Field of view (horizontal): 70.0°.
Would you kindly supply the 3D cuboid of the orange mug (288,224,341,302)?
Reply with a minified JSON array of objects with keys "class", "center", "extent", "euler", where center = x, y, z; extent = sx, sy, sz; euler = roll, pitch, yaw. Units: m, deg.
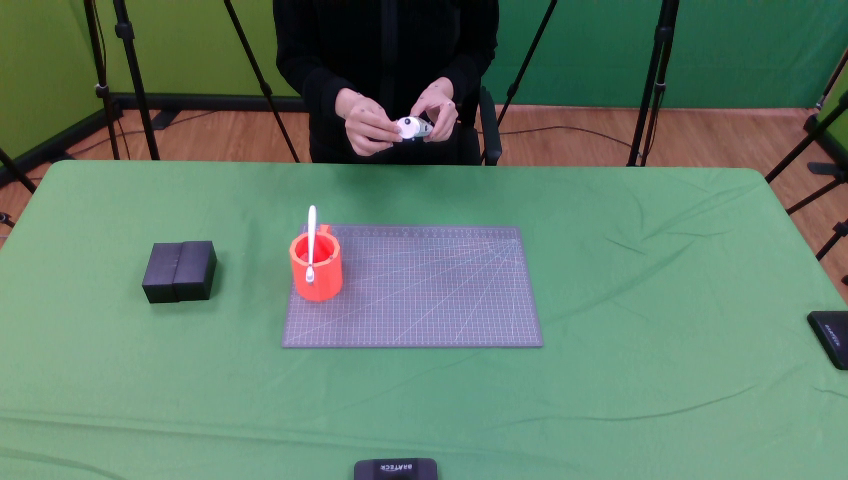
[{"class":"orange mug","center":[-0.192,0.034,1.094],"extent":[0.083,0.101,0.125],"euler":[7,50,2]}]

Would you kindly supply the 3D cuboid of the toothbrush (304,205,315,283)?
[{"class":"toothbrush","center":[-0.199,0.001,1.052],"extent":[0.014,0.017,0.180],"euler":[-4,46,-4]}]

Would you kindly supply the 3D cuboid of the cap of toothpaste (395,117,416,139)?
[{"class":"cap of toothpaste","center":[-0.030,-0.187,1.009],"extent":[0.037,0.037,0.011],"euler":[12,21,8]}]

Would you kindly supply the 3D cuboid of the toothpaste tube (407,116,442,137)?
[{"class":"toothpaste tube","center":[-0.008,-0.203,1.084],"extent":[0.055,0.034,0.165],"euler":[38,20,3]}]
